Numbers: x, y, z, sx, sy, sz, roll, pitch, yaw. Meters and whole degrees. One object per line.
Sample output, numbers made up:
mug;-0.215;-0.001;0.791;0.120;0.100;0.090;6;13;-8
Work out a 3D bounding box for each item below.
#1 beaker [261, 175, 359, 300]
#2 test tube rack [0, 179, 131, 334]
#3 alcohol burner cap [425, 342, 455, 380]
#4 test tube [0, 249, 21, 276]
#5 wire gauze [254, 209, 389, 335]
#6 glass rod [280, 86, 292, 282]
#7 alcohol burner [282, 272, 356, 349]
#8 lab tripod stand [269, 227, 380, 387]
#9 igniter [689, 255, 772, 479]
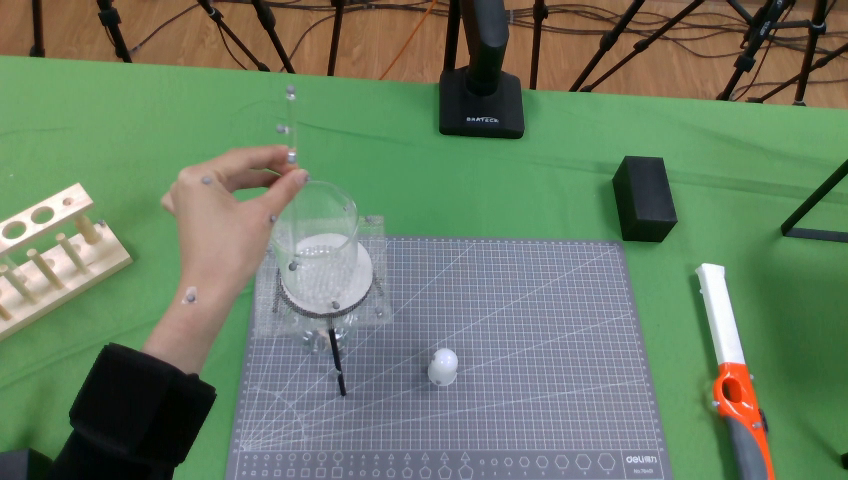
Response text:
beaker;-0.098;0.002;0.525;0.084;0.101;0.073;24;60;8
test tube rack;-0.449;0.041;0.635;0.242;0.086;0.066;-36;68;-23
alcohol burner cap;0.018;0.128;0.648;0.034;0.048;0.033;2;59;-3
test tube;-0.444;-0.007;0.606;0.017;0.151;0.017;3;54;-4
wire gauze;-0.097;0.025;0.569;0.121;0.011;0.124;-4;63;-6
glass rod;-0.108;-0.032;0.475;0.008;0.201;0.008;6;45;-6
alcohol burner;-0.109;0.067;0.631;0.078;0.120;0.077;3;58;-5
lab tripod stand;-0.099;0.062;0.623;0.148;0.132;0.147;3;60;-5
igniter;0.341;0.140;0.680;0.057;0.025;0.274;9;59;-12
